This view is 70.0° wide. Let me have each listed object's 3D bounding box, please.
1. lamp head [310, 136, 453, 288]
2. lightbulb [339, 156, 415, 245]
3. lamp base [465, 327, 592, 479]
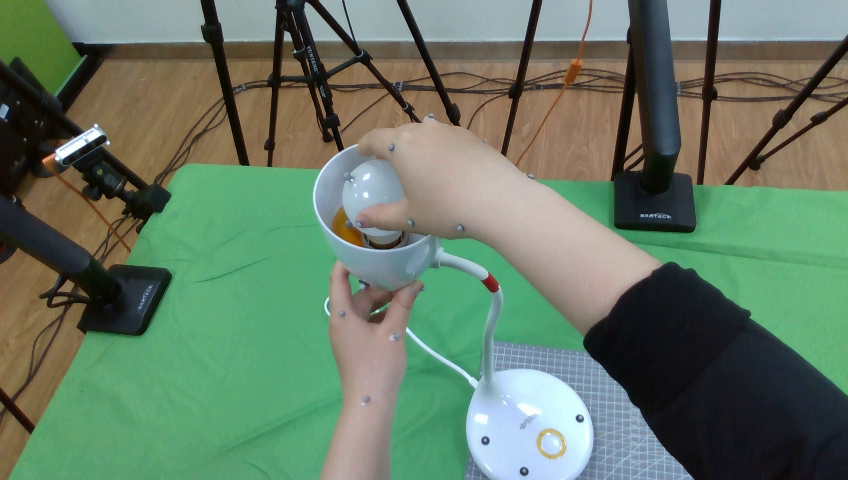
[{"bbox_3d":[-0.030,-0.011,0.523,0.112,0.124,0.111,-3,57,4],"label":"lamp head"},{"bbox_3d":[-0.038,-0.025,0.496,0.059,0.108,0.059,1,62,-2],"label":"lightbulb"},{"bbox_3d":[0.112,0.183,0.720,0.177,0.182,0.160,27,62,29],"label":"lamp base"}]
